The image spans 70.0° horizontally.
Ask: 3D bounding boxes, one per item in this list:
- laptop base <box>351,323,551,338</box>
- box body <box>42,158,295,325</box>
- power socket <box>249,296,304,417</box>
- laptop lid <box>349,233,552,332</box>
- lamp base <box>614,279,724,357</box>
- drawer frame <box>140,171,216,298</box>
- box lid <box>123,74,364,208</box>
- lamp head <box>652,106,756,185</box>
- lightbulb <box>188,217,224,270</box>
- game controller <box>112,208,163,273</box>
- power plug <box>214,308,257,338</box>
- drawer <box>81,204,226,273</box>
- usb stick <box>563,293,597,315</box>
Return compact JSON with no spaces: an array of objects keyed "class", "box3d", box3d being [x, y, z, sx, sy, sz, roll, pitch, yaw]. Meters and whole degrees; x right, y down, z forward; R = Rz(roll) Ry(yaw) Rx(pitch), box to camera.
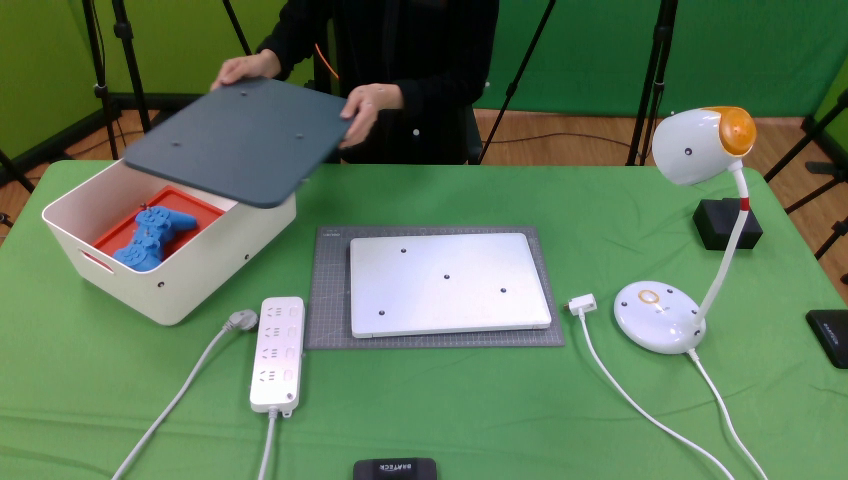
[{"class":"laptop base","box3d":[0.039,0.080,1.125,0.355,0.023,0.234,-2,43,-6]},{"class":"box body","box3d":[-0.437,-0.046,1.110,0.253,0.161,0.363,24,49,19]},{"class":"power socket","box3d":[-0.240,0.182,0.996,0.072,0.033,0.225,-2,47,-5]},{"class":"laptop lid","box3d":[0.040,0.070,1.119,0.357,0.013,0.240,-1,44,-5]},{"class":"lamp base","box3d":[0.436,0.090,1.035,0.161,0.181,0.178,-23,55,-23]},{"class":"drawer frame","box3d":[-0.435,-0.026,1.064,0.083,0.214,0.201,-9,13,-30]},{"class":"box lid","box3d":[-0.281,-0.181,1.013,0.263,0.015,0.370,17,39,9]},{"class":"lamp head","box3d":[0.410,-0.139,0.869,0.113,0.122,0.112,0,89,-19]},{"class":"lightbulb","box3d":[-0.406,0.007,1.114,0.059,0.060,0.107,8,59,3]},{"class":"game controller","box3d":[-0.463,0.002,1.041,0.097,0.052,0.154,4,46,4]},{"class":"power plug","box3d":[-0.318,0.142,1.024,0.072,0.053,0.035,-30,58,-9]},{"class":"drawer","box3d":[-0.458,0.011,1.091,0.194,0.073,0.211,27,44,15]},{"class":"usb stick","box3d":[0.280,0.118,1.092,0.059,0.021,0.027,-18,35,25]}]
